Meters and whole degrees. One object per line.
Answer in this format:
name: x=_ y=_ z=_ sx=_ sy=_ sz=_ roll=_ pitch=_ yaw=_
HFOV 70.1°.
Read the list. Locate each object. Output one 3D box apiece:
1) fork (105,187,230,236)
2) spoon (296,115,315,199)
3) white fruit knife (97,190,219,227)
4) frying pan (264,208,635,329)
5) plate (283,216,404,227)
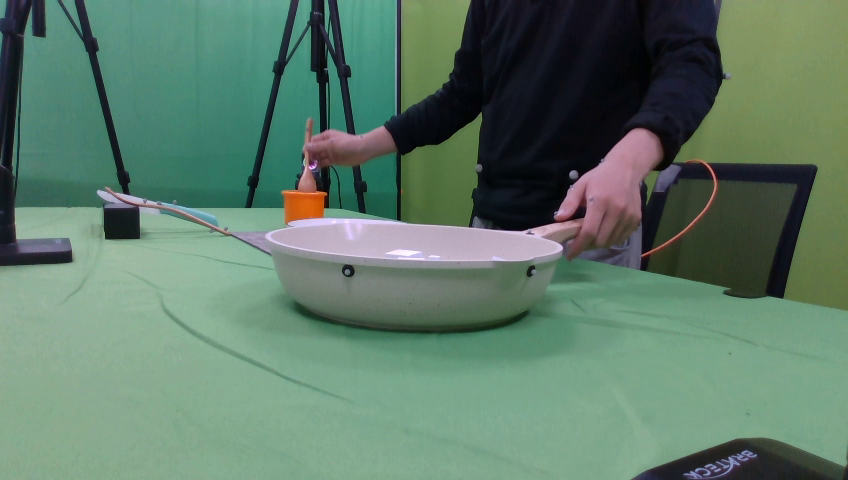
fork: x=-0.428 y=-0.047 z=1.020 sx=0.208 sy=0.018 sz=0.028 roll=19 pitch=-8 yaw=-26
spoon: x=-0.247 y=-0.178 z=1.270 sx=0.042 sy=0.193 sz=0.021 roll=12 pitch=-26 yaw=-33
white fruit knife: x=-0.468 y=-0.057 z=1.079 sx=0.208 sy=0.027 sz=0.016 roll=15 pitch=-2 yaw=-29
frying pan: x=0.075 y=0.007 z=0.666 sx=0.490 sy=0.102 sz=0.305 roll=-12 pitch=15 yaw=-33
plate: x=-0.119 y=-0.009 z=0.968 sx=0.208 sy=0.039 sz=0.207 roll=3 pitch=7 yaw=0
